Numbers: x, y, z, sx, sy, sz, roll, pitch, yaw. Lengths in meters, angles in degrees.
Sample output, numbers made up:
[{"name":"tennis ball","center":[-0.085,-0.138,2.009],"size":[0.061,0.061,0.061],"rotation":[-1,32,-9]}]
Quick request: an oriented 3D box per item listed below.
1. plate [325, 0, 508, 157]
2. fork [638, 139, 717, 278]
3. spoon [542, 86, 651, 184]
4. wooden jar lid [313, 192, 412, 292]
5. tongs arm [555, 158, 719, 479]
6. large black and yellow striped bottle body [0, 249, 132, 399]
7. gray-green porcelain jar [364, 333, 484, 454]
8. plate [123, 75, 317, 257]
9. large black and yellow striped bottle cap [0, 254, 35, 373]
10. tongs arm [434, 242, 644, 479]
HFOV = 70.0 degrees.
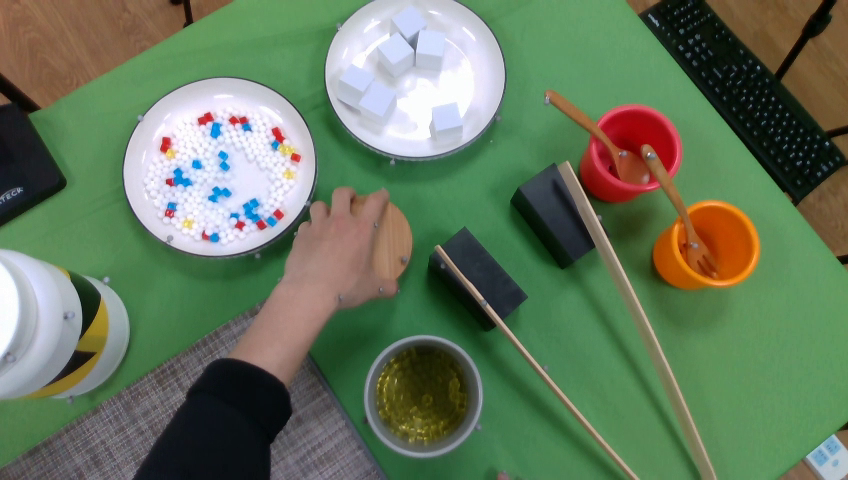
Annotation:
[{"name":"plate","center":[-0.008,-0.191,0.704],"size":[0.208,0.039,0.206],"rotation":[0,78,-1]},{"name":"fork","center":[0.263,-0.028,0.623],"size":[0.028,0.018,0.209],"rotation":[-43,126,-1]},{"name":"spoon","center":[0.186,-0.112,0.639],"size":[0.196,0.021,0.041],"rotation":[29,71,-39]},{"name":"wooden jar lid","center":[-0.065,0.003,0.655],"size":[0.108,0.021,0.108],"rotation":[-1,81,5]},{"name":"tongs arm","center":[0.220,0.093,0.626],"size":[0.028,0.028,0.387],"rotation":[-24,90,-15]},{"name":"large black and yellow striped bottle body","center":[-0.373,0.081,0.560],"size":[0.131,0.184,0.130],"rotation":[0,77,-1]},{"name":"gray-green porcelain jar","center":[-0.001,0.147,0.589],"size":[0.106,0.127,0.105],"rotation":[0,77,-2]},{"name":"plate","center":[-0.222,-0.081,0.673],"size":[0.209,0.038,0.208],"rotation":[0,79,-2]},{"name":"large black and yellow striped bottle cap","center":[-0.371,0.060,0.478],"size":[0.115,0.019,0.114],"rotation":[1,79,-3]},{"name":"tongs arm","center":[0.150,0.139,0.613],"size":[0.051,0.026,0.385],"rotation":[-39,92,-11]}]
